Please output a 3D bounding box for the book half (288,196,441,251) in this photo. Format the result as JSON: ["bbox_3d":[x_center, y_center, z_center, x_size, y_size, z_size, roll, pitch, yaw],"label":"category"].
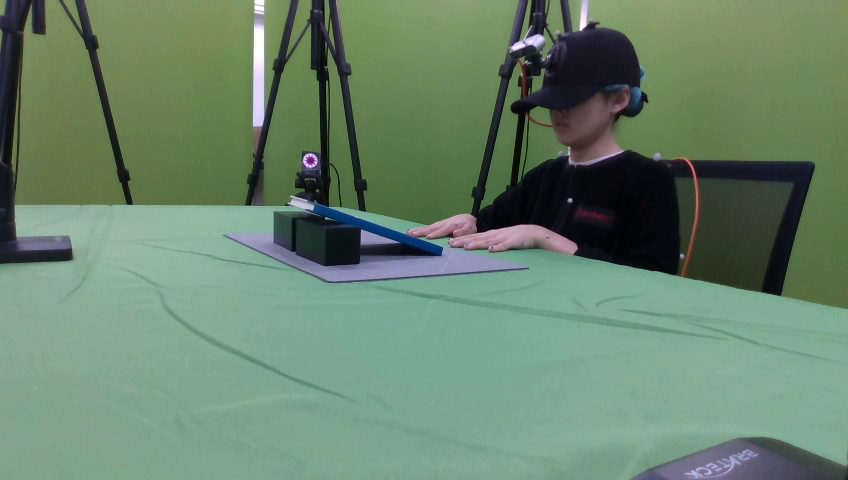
[{"bbox_3d":[-0.092,-0.026,0.920,0.211,0.007,0.142,19,-1,-27],"label":"book half"}]
